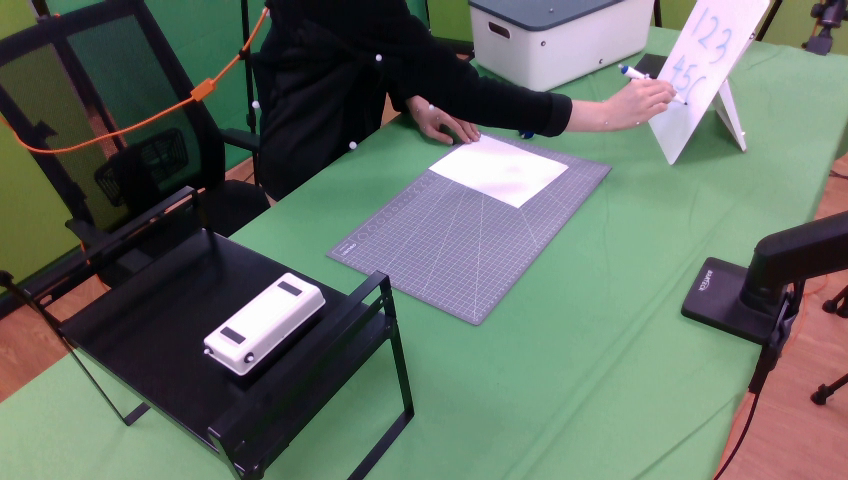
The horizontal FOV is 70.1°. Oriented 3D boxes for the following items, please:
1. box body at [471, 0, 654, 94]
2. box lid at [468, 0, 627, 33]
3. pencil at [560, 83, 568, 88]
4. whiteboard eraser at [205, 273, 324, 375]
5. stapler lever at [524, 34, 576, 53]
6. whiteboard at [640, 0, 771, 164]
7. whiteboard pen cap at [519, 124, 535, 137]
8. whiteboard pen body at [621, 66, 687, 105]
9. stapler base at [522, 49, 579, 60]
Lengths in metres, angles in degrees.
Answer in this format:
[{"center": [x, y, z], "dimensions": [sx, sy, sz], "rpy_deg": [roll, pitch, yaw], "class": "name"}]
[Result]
[{"center": [0.319, -0.498, 1.405], "dimensions": [0.365, 0.161, 0.252], "rpy_deg": [-26, 43, -21], "class": "box body"}, {"center": [0.312, -0.554, 1.358], "dimensions": [0.373, 0.015, 0.261], "rpy_deg": [-26, 44, -20], "class": "box lid"}, {"center": [0.248, -0.394, 1.398], "dimensions": [0.193, 0.012, 0.012], "rpy_deg": [33, 54, 23], "class": "pencil"}, {"center": [-0.157, 0.084, 0.605], "dimensions": [0.055, 0.042, 0.113], "rpy_deg": [24, 49, 30], "class": "whiteboard eraser"}, {"center": [0.297, -0.462, 1.424], "dimensions": [0.117, 0.040, 0.027], "rpy_deg": [5, 24, 17], "class": "stapler lever"}, {"center": [0.543, -0.299, 1.076], "dimensions": [0.144, 0.305, 0.216], "rpy_deg": [12, 40, -7], "class": "whiteboard"}, {"center": [0.206, -0.218, 1.205], "dimensions": [0.018, 0.018, 0.033], "rpy_deg": [-27, 45, -22], "class": "whiteboard pen cap"}, {"center": [0.401, -0.265, 1.047], "dimensions": [0.141, 0.017, 0.017], "rpy_deg": [23, 39, -15], "class": "whiteboard pen body"}, {"center": [0.300, -0.441, 1.434], "dimensions": [0.130, 0.024, 0.041], "rpy_deg": [3, 24, 18], "class": "stapler base"}]
